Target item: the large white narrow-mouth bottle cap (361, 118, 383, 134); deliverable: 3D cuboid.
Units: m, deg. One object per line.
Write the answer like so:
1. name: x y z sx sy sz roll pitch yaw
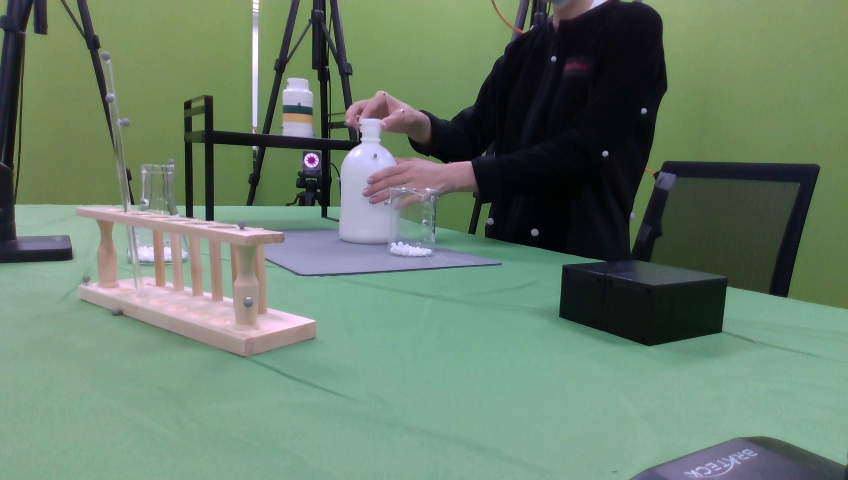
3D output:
1. large white narrow-mouth bottle cap: -0.084 -0.188 0.998 0.038 0.024 0.037 4 9 0

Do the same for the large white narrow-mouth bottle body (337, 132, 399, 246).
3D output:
1. large white narrow-mouth bottle body: -0.092 -0.092 1.014 0.102 0.194 0.102 4 9 0

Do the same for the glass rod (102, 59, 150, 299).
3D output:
1. glass rod: -0.243 -0.045 0.496 0.008 0.199 0.008 -4 13 1

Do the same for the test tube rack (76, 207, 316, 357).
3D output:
1. test tube rack: -0.196 0.023 0.500 0.241 0.085 0.067 7 9 36

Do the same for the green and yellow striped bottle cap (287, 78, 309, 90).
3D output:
1. green and yellow striped bottle cap: -0.265 -0.326 1.268 0.045 0.020 0.045 4 6 0

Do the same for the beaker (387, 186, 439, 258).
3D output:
1. beaker: -0.015 -0.027 0.885 0.074 0.100 0.083 -1 8 -20

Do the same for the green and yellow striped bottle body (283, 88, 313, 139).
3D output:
1. green and yellow striped bottle body: -0.266 -0.275 1.275 0.063 0.119 0.063 3 7 0

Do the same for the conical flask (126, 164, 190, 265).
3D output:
1. conical flask: -0.332 -0.033 0.756 0.075 0.122 0.075 2 7 0
